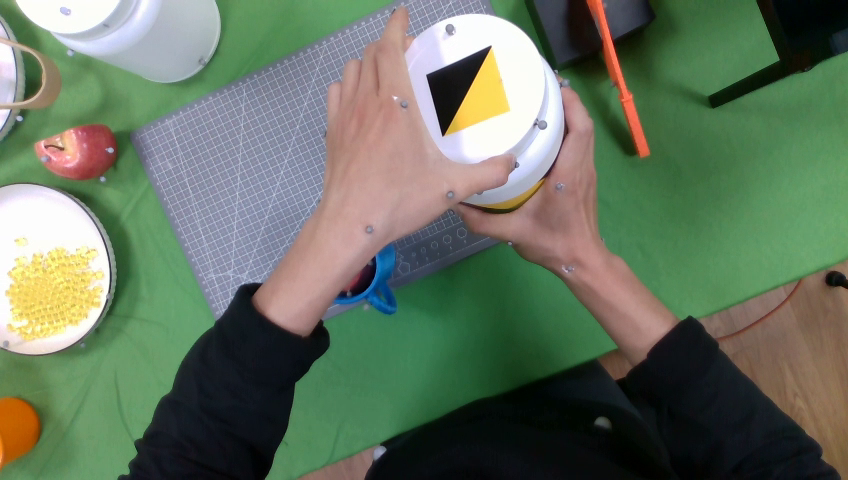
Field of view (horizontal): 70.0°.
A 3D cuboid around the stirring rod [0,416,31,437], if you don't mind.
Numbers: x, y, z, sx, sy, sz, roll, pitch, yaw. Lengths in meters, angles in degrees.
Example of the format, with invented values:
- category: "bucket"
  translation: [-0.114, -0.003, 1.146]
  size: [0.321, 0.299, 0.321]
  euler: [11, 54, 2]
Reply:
- category: "stirring rod"
  translation: [-0.559, 0.247, 0.704]
  size: [0.177, 0.006, 0.014]
  euler: [-18, 81, -35]

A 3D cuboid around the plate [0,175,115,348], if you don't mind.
- category: "plate"
  translation: [-0.471, 0.025, 0.732]
  size: [0.209, 0.038, 0.209]
  euler: [0, 95, 5]

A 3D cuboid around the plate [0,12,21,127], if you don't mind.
- category: "plate"
  translation: [-0.575, -0.206, 0.721]
  size: [0.207, 0.039, 0.208]
  euler: [0, 95, 4]

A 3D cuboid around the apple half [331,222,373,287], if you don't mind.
- category: "apple half"
  translation: [-0.072, 0.017, 0.660]
  size: [0.032, 0.081, 0.081]
  euler: [9, 95, 12]

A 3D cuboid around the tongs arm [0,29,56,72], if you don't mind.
- category: "tongs arm"
  translation: [-0.595, -0.264, 0.687]
  size: [0.387, 0.028, 0.028]
  euler: [19, 89, 5]

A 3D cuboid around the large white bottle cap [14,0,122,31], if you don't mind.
- category: "large white bottle cap"
  translation: [-0.319, -0.247, 0.539]
  size: [0.115, 0.018, 0.115]
  euler: [0, 95, 5]

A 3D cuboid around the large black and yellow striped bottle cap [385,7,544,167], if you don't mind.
- category: "large black and yellow striped bottle cap"
  translation: [0.028, -0.110, 0.434]
  size: [0.114, 0.019, 0.114]
  euler: [-2, 83, 15]

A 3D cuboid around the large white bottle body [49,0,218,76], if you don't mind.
- category: "large white bottle body"
  translation: [-0.310, -0.252, 0.624]
  size: [0.130, 0.184, 0.130]
  euler: [0, 94, 5]

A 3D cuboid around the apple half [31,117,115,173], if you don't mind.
- category: "apple half"
  translation: [-0.397, -0.104, 0.699]
  size: [0.081, 0.074, 0.053]
  euler: [-20, 96, 2]

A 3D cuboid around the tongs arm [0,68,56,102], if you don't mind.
- category: "tongs arm"
  translation: [-0.609, -0.181, 0.693]
  size: [0.384, 0.026, 0.051]
  euler: [5, 91, 6]

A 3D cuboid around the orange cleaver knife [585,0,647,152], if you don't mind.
- category: "orange cleaver knife"
  translation: [0.198, -0.192, 0.642]
  size: [0.012, 0.076, 0.213]
  euler: [-21, 119, 14]

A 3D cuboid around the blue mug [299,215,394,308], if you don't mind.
- category: "blue mug"
  translation: [-0.073, 0.027, 0.667]
  size: [0.082, 0.106, 0.116]
  euler: [-39, 91, 6]

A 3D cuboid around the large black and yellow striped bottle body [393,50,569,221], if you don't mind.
- category: "large black and yellow striped bottle body"
  translation: [0.051, -0.095, 0.514]
  size: [0.130, 0.185, 0.130]
  euler: [-3, 80, 16]

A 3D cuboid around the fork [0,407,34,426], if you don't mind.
- category: "fork"
  translation: [-0.575, 0.232, 0.702]
  size: [0.208, 0.018, 0.028]
  euler: [-9, 94, -38]
